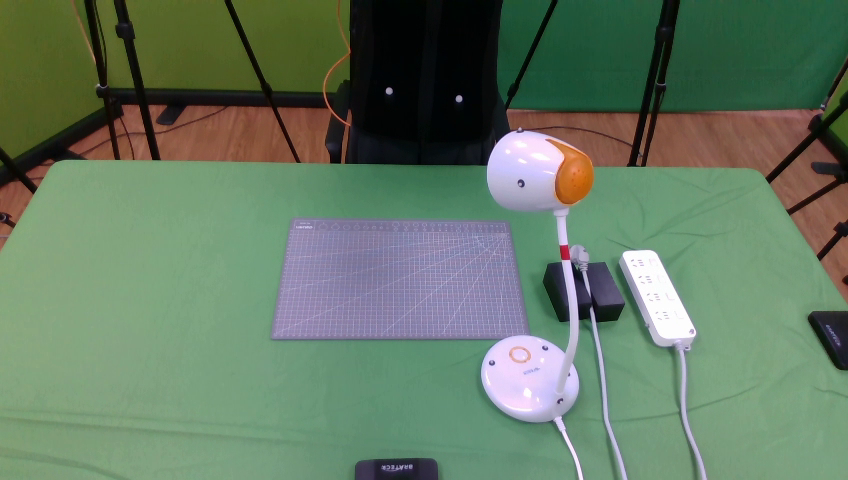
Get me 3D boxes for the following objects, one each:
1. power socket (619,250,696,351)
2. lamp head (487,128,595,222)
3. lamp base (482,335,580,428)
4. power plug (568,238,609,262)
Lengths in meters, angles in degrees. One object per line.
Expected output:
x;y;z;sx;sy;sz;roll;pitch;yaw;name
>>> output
0.428;0.103;1.121;0.072;0.033;0.225;-3;46;-6;power socket
0.160;-0.084;0.791;0.112;0.113;0.122;-24;28;-25;lamp head
0.185;0.177;0.928;0.161;0.181;0.178;-22;53;-23;lamp base
0.305;0.020;1.130;0.073;0.052;0.035;-9;90;-20;power plug
